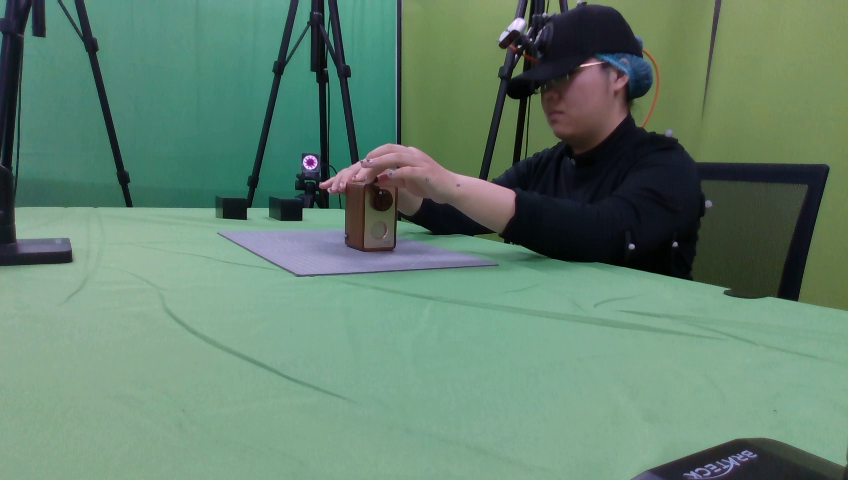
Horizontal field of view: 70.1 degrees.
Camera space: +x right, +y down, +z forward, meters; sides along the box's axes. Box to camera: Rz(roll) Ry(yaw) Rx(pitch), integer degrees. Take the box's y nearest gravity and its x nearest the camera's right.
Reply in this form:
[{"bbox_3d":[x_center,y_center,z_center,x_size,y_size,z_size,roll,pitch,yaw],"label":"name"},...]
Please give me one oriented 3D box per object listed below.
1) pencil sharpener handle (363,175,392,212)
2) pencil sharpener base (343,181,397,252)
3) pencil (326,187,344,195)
[{"bbox_3d":[-0.065,-0.070,0.903,0.036,0.068,0.030,-48,29,-17],"label":"pencil sharpener handle"},{"bbox_3d":[-0.085,-0.038,0.956,0.062,0.107,0.076,-2,9,-32],"label":"pencil sharpener base"},{"bbox_3d":[-0.125,-0.078,1.021,0.012,0.012,0.193,-2,10,-32],"label":"pencil"}]
